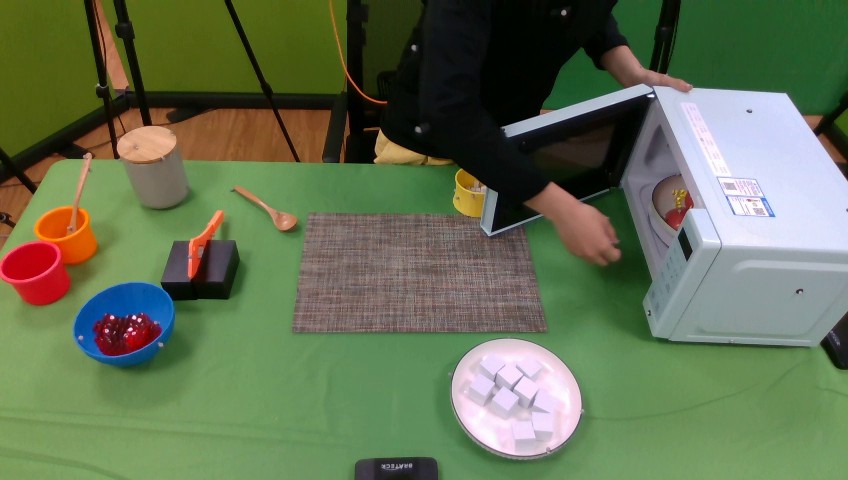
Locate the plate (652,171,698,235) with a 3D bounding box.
[{"bbox_3d":[0.550,-0.054,1.187,0.209,0.038,0.208,2,47,-2],"label":"plate"}]

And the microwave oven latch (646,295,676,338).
[{"bbox_3d":[0.413,0.133,1.060,0.030,0.029,0.078,4,46,1],"label":"microwave oven latch"}]

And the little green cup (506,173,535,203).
[{"bbox_3d":[0.205,-0.111,1.302,0.061,0.039,0.061,2,47,-2],"label":"little green cup"}]

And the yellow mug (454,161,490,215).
[{"bbox_3d":[0.117,-0.119,1.284,0.100,0.064,0.130,9,44,4],"label":"yellow mug"}]

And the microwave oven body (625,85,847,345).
[{"bbox_3d":[0.568,-0.054,1.116,0.326,0.261,0.439,2,46,-1],"label":"microwave oven body"}]

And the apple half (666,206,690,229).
[{"bbox_3d":[0.507,-0.045,1.168,0.081,0.033,0.081,5,44,-5],"label":"apple half"}]

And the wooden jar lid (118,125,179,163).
[{"bbox_3d":[-0.528,-0.181,1.167,0.108,0.021,0.107,4,48,-4],"label":"wooden jar lid"}]

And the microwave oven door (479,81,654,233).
[{"bbox_3d":[0.280,-0.164,1.193,0.356,0.245,0.039,-21,52,-21],"label":"microwave oven door"}]

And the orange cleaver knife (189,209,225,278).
[{"bbox_3d":[-0.401,0.002,1.122,0.012,0.077,0.210,4,23,-4],"label":"orange cleaver knife"}]

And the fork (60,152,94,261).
[{"bbox_3d":[-0.638,-0.063,1.120,0.028,0.018,0.207,12,90,7],"label":"fork"}]

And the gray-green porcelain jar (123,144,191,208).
[{"bbox_3d":[-0.531,-0.137,1.214,0.106,0.127,0.105,2,47,-2],"label":"gray-green porcelain jar"}]

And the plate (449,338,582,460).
[{"bbox_3d":[0.141,0.251,0.955,0.208,0.039,0.206,2,46,-2],"label":"plate"}]

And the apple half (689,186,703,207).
[{"bbox_3d":[0.568,-0.086,1.194,0.081,0.053,0.074,6,30,11],"label":"apple half"}]

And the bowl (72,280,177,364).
[{"bbox_3d":[-0.472,0.146,0.982,0.151,0.077,0.150,2,46,-2],"label":"bowl"}]

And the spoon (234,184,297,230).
[{"bbox_3d":[-0.328,-0.073,1.240,0.193,0.022,0.041,34,71,25],"label":"spoon"}]
